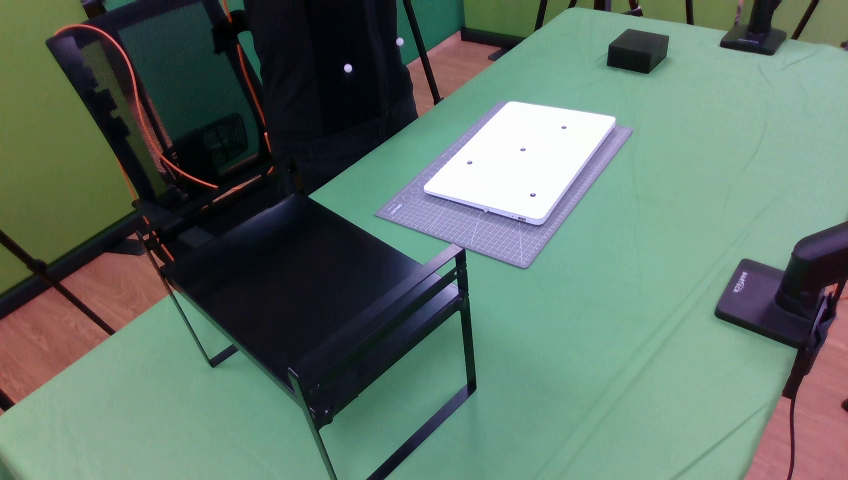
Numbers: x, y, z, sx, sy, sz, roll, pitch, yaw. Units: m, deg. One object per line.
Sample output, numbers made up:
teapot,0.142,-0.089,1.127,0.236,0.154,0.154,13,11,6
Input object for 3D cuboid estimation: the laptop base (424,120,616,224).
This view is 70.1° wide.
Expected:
laptop base,0.188,-0.156,1.131,0.234,0.023,0.355,16,46,30

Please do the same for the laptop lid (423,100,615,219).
laptop lid,0.184,-0.166,1.124,0.240,0.013,0.357,18,47,30
